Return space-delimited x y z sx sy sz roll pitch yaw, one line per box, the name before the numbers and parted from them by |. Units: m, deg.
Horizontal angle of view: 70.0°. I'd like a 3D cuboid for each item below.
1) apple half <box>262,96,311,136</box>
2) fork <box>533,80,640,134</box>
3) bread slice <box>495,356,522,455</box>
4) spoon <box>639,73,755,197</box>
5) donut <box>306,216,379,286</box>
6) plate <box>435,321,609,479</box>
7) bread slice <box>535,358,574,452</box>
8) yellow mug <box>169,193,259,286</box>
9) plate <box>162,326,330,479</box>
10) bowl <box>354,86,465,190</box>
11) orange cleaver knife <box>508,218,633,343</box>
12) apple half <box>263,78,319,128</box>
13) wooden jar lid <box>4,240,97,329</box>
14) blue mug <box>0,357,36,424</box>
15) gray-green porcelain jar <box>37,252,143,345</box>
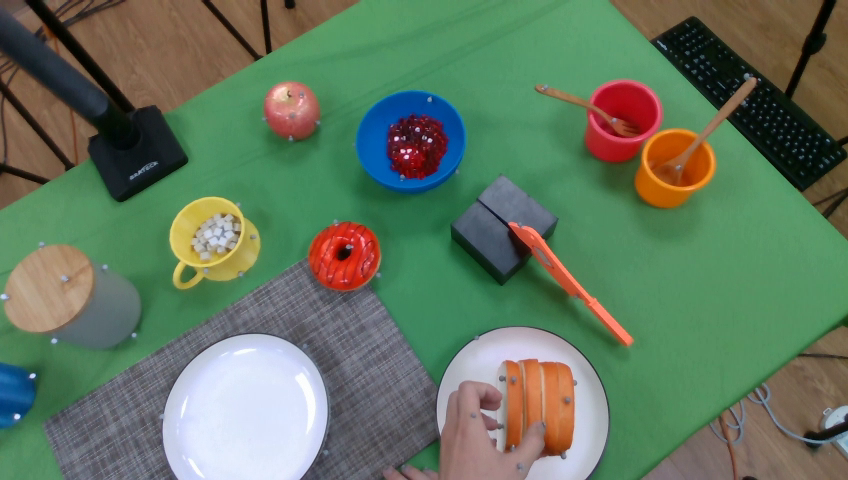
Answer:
apple half | -0.201 -0.169 0.873 0.081 0.082 0.032 20 68 11
fork | 0.221 -0.177 0.810 0.209 0.018 0.028 14 64 -36
bread slice | 0.094 0.185 0.690 0.018 0.135 0.106 1 67 2
spoon | 0.353 -0.132 0.784 0.041 0.194 0.022 48 35 19
donut | -0.109 0.015 0.814 0.099 0.048 0.098 -1 71 3
plate | 0.117 0.204 0.739 0.209 0.038 0.207 -1 70 4
bread slice | 0.146 0.188 0.686 0.019 0.132 0.104 4 72 0
yellow mug | -0.292 0.007 0.822 0.099 0.064 0.130 30 76 13
plate | -0.217 0.212 0.755 0.207 0.039 0.206 -1 71 3
bowl | -0.017 -0.129 0.845 0.151 0.077 0.150 -1 71 4
orange cleaver knife | 0.183 0.050 0.766 0.012 0.077 0.212 -44 97 -8
apple half | -0.187 -0.202 0.885 0.080 0.075 0.053 20 67 15
wooden jar lid | -0.438 0.053 0.717 0.108 0.021 0.107 -2 69 5
blue mug | -0.567 0.197 0.751 0.082 0.106 0.116 28 75 13
gray-green porcelain jar | -0.433 0.075 0.775 0.106 0.127 0.105 -1 70 4
